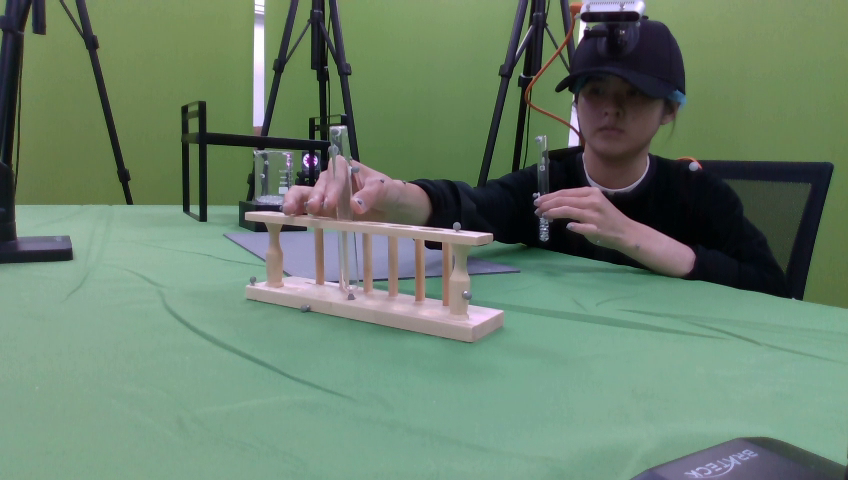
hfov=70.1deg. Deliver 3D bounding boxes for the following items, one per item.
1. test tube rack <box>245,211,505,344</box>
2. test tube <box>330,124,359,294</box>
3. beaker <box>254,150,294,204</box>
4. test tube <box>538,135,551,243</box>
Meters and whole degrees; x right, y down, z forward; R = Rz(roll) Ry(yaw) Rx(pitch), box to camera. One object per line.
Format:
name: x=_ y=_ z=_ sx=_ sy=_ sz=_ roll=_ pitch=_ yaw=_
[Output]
test tube rack: x=-0.049 y=0.025 z=0.547 sx=0.241 sy=0.085 sz=0.067 roll=7 pitch=8 yaw=29
test tube: x=-0.069 y=-0.025 z=0.530 sx=0.017 sy=0.150 sz=0.017 roll=-2 pitch=11 yaw=1
beaker: x=-0.289 y=-0.120 z=1.151 sx=0.073 sy=0.100 sz=0.084 roll=8 pitch=9 yaw=33
test tube: x=0.168 y=-0.071 z=0.844 sx=0.017 sy=0.150 sz=0.017 roll=-2 pitch=4 yaw=0
